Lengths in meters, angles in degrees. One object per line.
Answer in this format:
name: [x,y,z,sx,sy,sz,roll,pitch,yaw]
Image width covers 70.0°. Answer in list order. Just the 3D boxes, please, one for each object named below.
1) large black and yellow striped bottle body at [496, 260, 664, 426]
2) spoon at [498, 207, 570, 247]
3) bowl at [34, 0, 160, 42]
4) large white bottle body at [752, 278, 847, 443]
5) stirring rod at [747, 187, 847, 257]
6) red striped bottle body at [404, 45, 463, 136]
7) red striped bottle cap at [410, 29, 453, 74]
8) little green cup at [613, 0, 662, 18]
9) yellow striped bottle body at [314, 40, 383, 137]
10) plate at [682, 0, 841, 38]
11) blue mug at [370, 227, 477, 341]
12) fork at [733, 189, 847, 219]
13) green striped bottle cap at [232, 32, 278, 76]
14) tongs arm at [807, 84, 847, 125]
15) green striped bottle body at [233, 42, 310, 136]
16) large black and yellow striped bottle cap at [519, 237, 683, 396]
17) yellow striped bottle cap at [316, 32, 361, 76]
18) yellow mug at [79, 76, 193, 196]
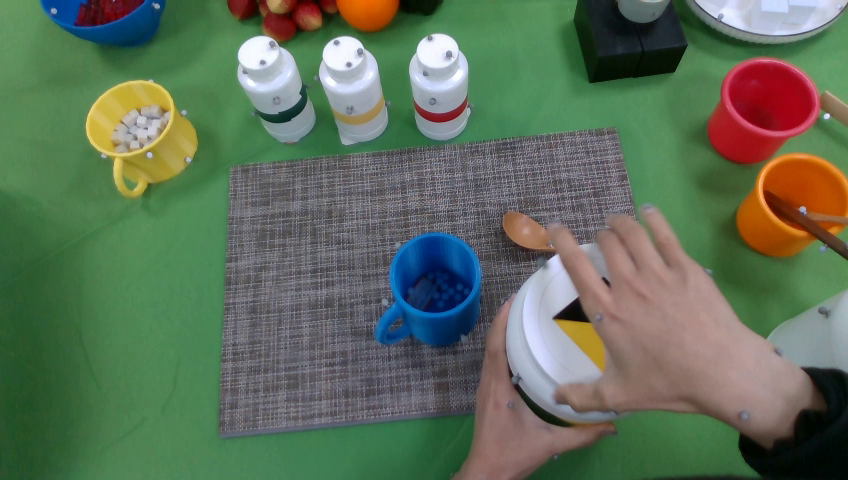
large black and yellow striped bottle body: [0.130,0.085,0.518,0.131,0.185,0.130,-1,68,4]
spoon: [0.166,0.013,0.631,0.193,0.022,0.041,24,49,11]
bowl: [-0.393,-0.304,0.759,0.151,0.077,0.150,-1,69,3]
large white bottle body: [0.376,0.096,0.503,0.130,0.186,0.129,-1,68,3]
stirring rod: [0.359,-0.020,0.577,0.014,0.006,0.174,-4,25,-1]
red striped bottle body: [0.012,-0.172,0.664,0.063,0.120,0.062,-1,67,3]
red striped bottle cap: [0.008,-0.192,0.614,0.044,0.018,0.044,0,67,-1]
little green cup: [0.243,-0.284,0.683,0.061,0.039,0.061,-1,67,2]
yellow striped bottle body: [-0.083,-0.171,0.668,0.063,0.121,0.062,-1,68,3]
plate: [0.406,-0.330,0.747,0.209,0.038,0.207,-1,69,3]
blue mug: [-0.003,0.055,0.580,0.116,0.106,0.082,-38,70,-11]
fork: [0.388,-0.021,0.567,0.028,0.019,0.205,-33,26,-17]
green striped bottle cap: [-0.174,-0.192,0.625,0.044,0.020,0.044,-1,67,2]
tongs arm: [0.584,-0.054,0.632,0.051,0.027,0.382,-41,73,-16]
green striped bottle body: [-0.170,-0.172,0.673,0.063,0.120,0.062,-1,68,3]
large black and yellow striped bottle cap: [0.126,0.053,0.437,0.115,0.019,0.114,-2,73,5]
yellow striped bottle cap: [-0.087,-0.190,0.619,0.044,0.019,0.044,1,65,-1]
yellow mug: [-0.328,-0.112,0.687,0.100,0.064,0.130,3,70,4]
